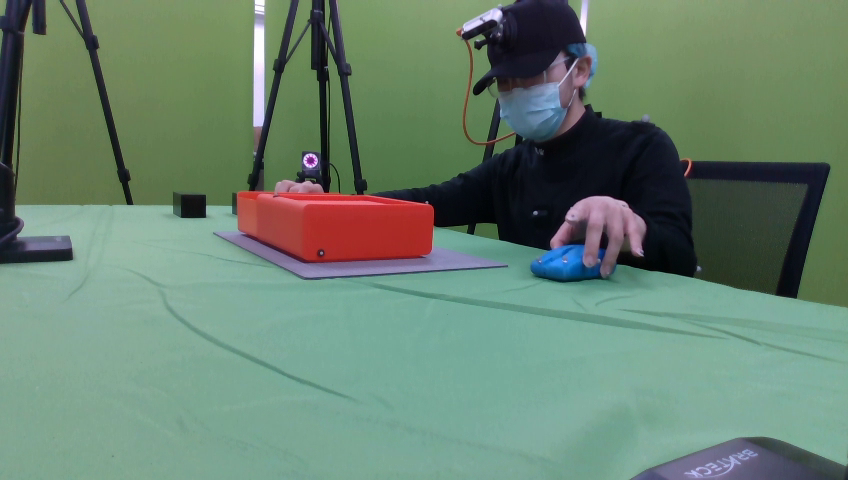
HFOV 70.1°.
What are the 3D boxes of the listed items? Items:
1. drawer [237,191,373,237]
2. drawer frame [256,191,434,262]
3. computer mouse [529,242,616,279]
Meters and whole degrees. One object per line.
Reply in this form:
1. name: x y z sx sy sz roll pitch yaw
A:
1. drawer: -0.186 -0.039 1.006 0.195 0.073 0.210 -1 8 -32
2. drawer frame: -0.125 -0.026 0.910 0.203 0.082 0.212 -1 9 -32
3. computer mouse: 0.195 0.025 0.789 0.118 0.041 0.062 -7 12 -37
